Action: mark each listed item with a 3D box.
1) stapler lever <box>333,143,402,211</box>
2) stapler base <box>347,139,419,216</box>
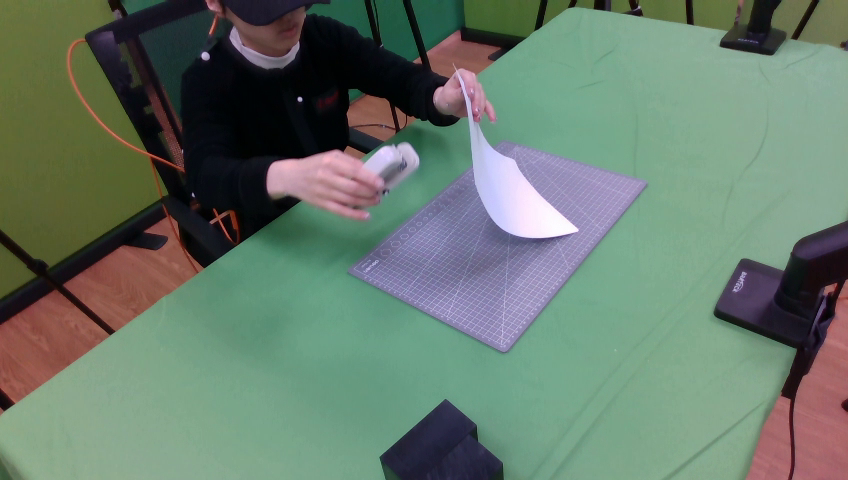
[{"bbox_3d":[-0.076,-0.082,0.787,0.118,0.040,0.026,-38,77,20],"label":"stapler lever"},{"bbox_3d":[-0.066,-0.085,0.810,0.130,0.024,0.041,-38,78,20],"label":"stapler base"}]
